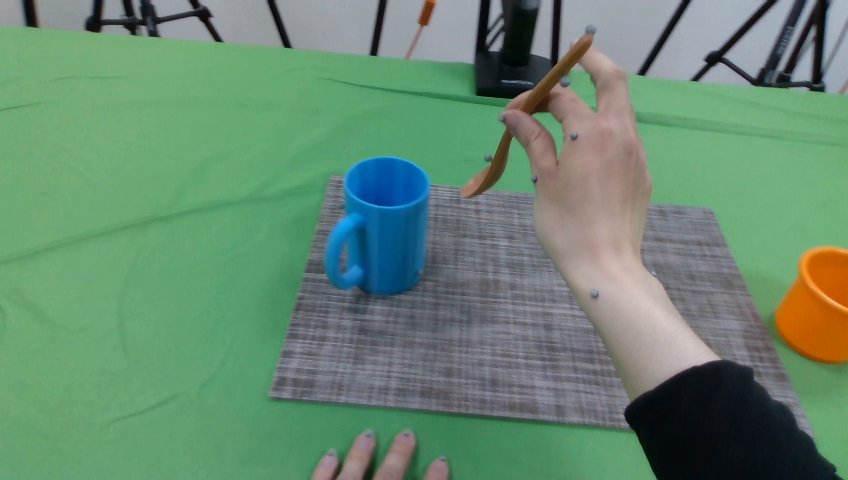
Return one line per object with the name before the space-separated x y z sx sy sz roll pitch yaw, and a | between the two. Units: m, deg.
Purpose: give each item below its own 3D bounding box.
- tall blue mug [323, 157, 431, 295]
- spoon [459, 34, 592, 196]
tall blue mug | -0.040 -0.002 0.556 0.078 0.109 0.106 11 43 5
spoon | 0.064 -0.081 0.432 0.021 0.194 0.041 34 63 1
